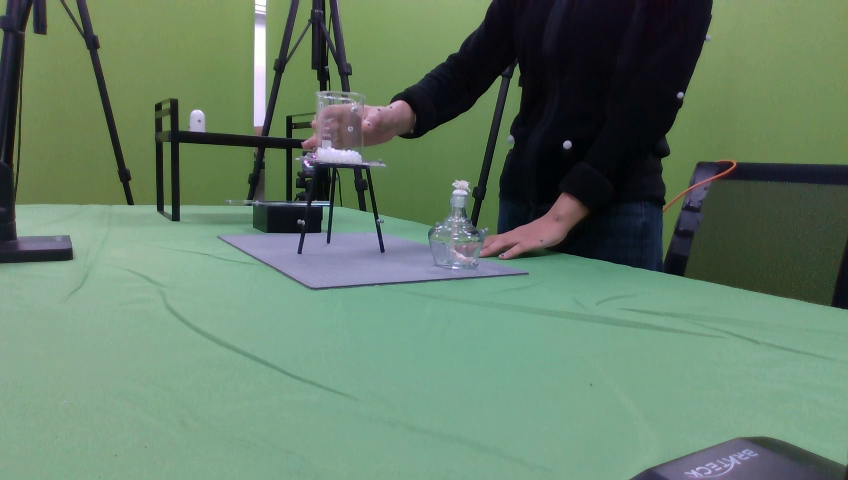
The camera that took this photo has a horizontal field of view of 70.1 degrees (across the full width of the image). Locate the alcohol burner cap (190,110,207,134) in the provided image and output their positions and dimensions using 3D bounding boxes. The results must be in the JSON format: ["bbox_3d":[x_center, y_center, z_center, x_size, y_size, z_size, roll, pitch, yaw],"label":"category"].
[{"bbox_3d":[-0.463,-0.242,1.240,0.034,0.048,0.034,2,7,0],"label":"alcohol burner cap"}]

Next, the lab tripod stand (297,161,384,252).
[{"bbox_3d":[-0.130,-0.051,0.903,0.148,0.131,0.148,3,9,0],"label":"lab tripod stand"}]

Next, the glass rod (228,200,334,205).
[{"bbox_3d":[-0.268,-0.071,1.148,0.201,0.008,0.008,-1,8,-28],"label":"glass rod"}]

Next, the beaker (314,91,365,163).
[{"bbox_3d":[-0.123,-0.164,0.892,0.073,0.100,0.084,7,9,31],"label":"beaker"}]

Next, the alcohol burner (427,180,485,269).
[{"bbox_3d":[0.044,-0.021,0.807,0.078,0.119,0.078,4,6,0],"label":"alcohol burner"}]

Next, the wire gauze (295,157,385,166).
[{"bbox_3d":[-0.128,-0.117,0.901,0.125,0.011,0.121,-1,7,-14],"label":"wire gauze"}]
